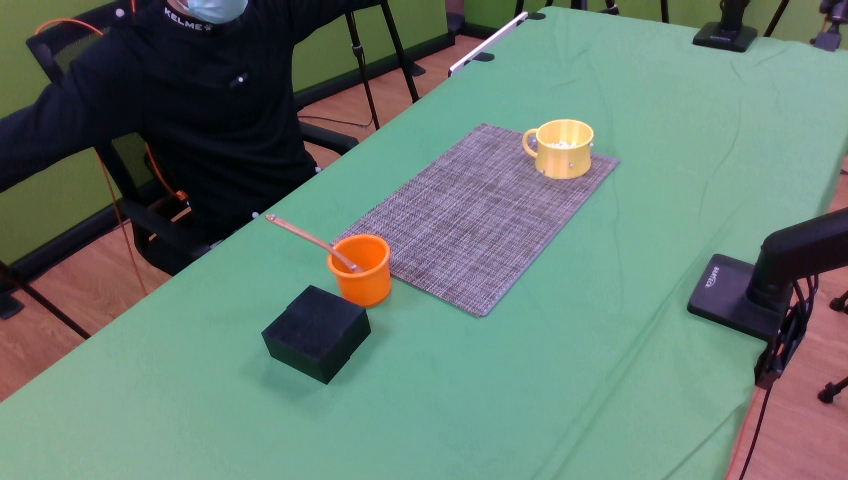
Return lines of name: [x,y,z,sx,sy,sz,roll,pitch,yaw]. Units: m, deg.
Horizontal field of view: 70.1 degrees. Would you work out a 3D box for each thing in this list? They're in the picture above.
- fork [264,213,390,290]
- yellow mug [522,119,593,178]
fork: [-0.137,0.018,0.869,0.208,0.018,0.028,35,38,-18]
yellow mug: [0.238,-0.170,1.092,0.130,0.064,0.100,17,47,27]
